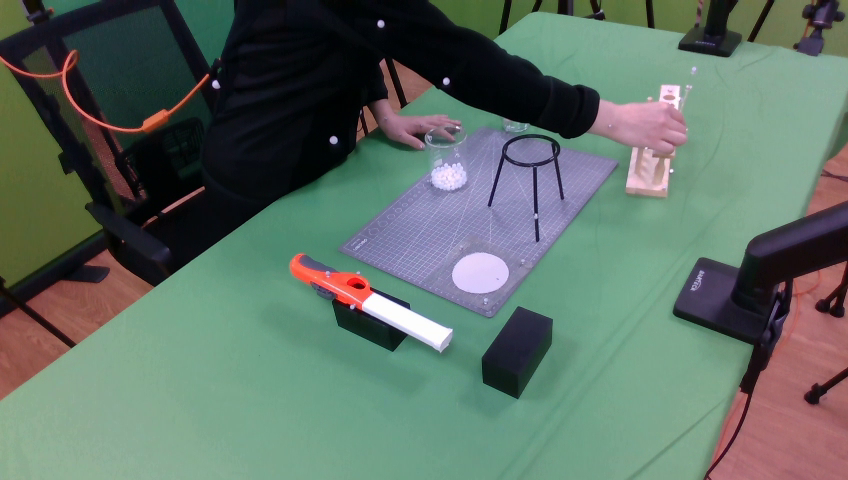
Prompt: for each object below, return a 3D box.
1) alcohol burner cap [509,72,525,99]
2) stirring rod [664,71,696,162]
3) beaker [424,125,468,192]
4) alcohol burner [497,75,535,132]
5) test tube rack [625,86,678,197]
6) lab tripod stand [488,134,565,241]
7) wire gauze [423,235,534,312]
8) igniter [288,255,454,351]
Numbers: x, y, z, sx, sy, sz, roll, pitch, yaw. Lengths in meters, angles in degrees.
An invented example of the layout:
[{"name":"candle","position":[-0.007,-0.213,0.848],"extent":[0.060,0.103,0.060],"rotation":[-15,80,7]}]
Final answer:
[{"name":"alcohol burner cap","position":[0.182,-0.306,1.186],"extent":[0.034,0.048,0.033],"rotation":[-6,38,6]},{"name":"stirring rod","position":[0.411,-0.196,0.982],"extent":[0.014,0.177,0.006],"rotation":[11,50,14]},{"name":"beaker","position":[0.043,-0.144,1.078],"extent":[0.073,0.100,0.084],"rotation":[28,51,34]},{"name":"alcohol burner","position":[0.184,-0.278,1.210],"extent":[0.078,0.119,0.077],"rotation":[-3,43,3]},{"name":"test tube rack","position":[0.412,-0.184,1.088],"extent":[0.066,0.085,0.242],"rotation":[9,43,18]},{"name":"lab tripod stand","position":[0.169,-0.092,0.972],"extent":[0.148,0.132,0.147],"rotation":[-5,41,5]},{"name":"wire gauze","position":[0.082,0.049,0.914],"extent":[0.120,0.011,0.125],"rotation":[26,53,32]},{"name":"igniter","position":[-0.082,0.079,0.818],"extent":[0.274,0.025,0.057],"rotation":[23,46,27]}]
